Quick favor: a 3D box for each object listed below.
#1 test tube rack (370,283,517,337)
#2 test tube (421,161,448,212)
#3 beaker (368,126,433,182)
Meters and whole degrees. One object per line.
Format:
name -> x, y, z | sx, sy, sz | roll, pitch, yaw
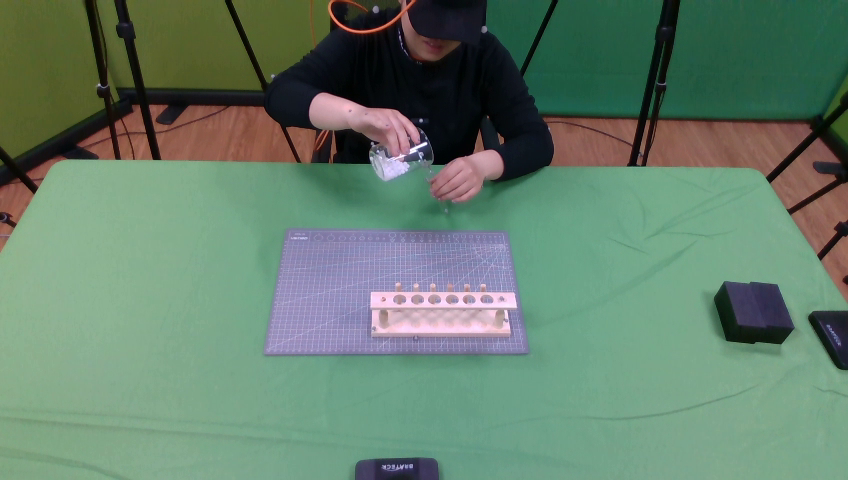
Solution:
test tube rack -> 0.030, 0.116, 1.041 | 0.242, 0.085, 0.066 | 1, 46, -4
test tube -> 0.022, -0.102, 1.205 | 0.017, 0.151, 0.017 | -10, 53, 14
beaker -> -0.044, -0.152, 1.108 | 0.100, 0.084, 0.073 | -26, 46, -17
